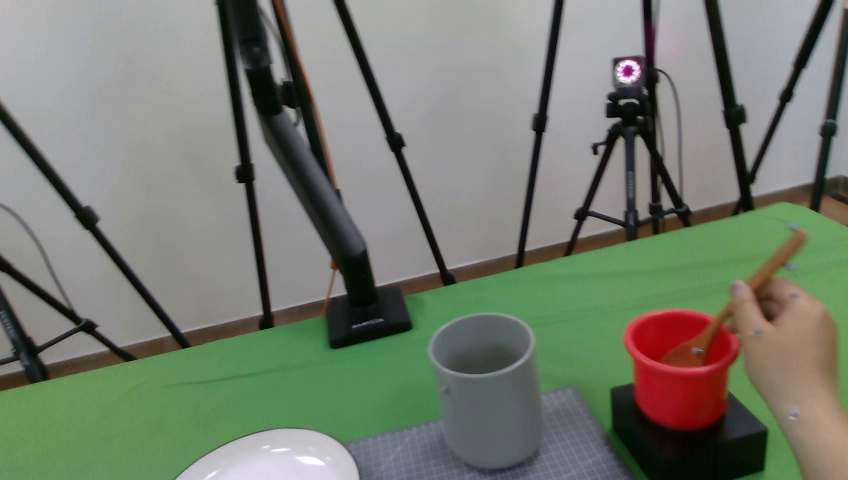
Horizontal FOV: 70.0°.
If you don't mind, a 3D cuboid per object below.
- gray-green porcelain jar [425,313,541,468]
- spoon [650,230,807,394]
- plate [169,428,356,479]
[{"bbox_3d":[0.062,0.155,0.611,0.106,0.127,0.105,-8,26,4],"label":"gray-green porcelain jar"},{"bbox_3d":[0.259,0.067,0.524,0.022,0.195,0.041,11,37,-18],"label":"spoon"},{"bbox_3d":[-0.163,0.264,0.568,0.207,0.039,0.206,-8,25,4],"label":"plate"}]
